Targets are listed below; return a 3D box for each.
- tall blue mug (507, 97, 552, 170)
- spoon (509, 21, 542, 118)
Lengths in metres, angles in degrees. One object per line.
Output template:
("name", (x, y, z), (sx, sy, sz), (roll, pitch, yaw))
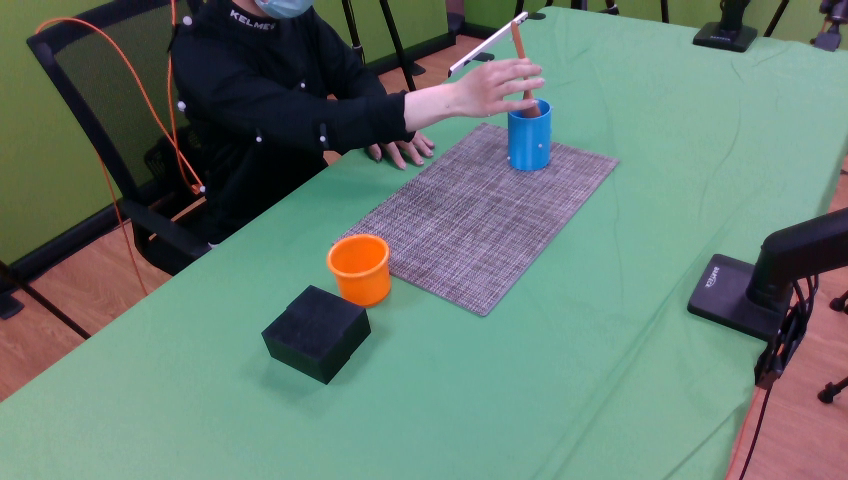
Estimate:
("tall blue mug", (0.179, -0.198, 1.101), (0.078, 0.108, 0.106), (-36, 49, -28))
("spoon", (0.169, -0.277, 1.021), (0.041, 0.195, 0.022), (14, 46, 39))
